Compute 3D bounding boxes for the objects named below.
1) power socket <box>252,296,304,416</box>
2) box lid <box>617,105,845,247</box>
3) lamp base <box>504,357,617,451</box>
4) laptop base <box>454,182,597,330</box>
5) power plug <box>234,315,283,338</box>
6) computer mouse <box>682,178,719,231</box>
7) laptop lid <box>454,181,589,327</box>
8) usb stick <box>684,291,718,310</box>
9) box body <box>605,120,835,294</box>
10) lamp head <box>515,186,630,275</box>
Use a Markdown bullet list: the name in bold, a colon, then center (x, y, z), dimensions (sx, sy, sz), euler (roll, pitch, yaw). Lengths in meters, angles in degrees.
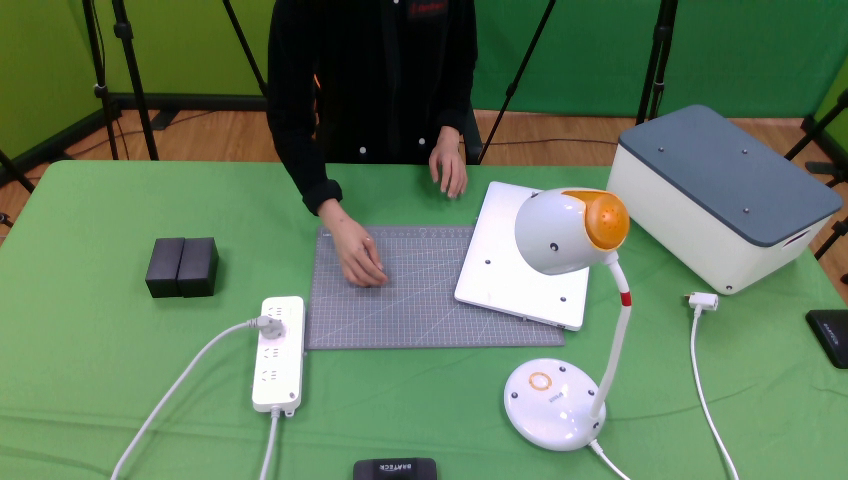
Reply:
- **power socket**: center (-0.238, 0.181, 0.997), dimensions (0.072, 0.033, 0.225), euler (-3, 47, -5)
- **box lid**: center (0.586, -0.138, 1.176), dimensions (0.263, 0.015, 0.369), euler (-22, 51, -23)
- **lamp base**: center (0.220, 0.211, 0.903), dimensions (0.160, 0.181, 0.178), euler (-33, 59, -30)
- **laptop base**: center (0.211, 0.019, 1.202), dimensions (0.235, 0.023, 0.352), euler (11, 46, 10)
- **power plug**: center (-0.269, 0.143, 1.000), dimensions (0.072, 0.053, 0.035), euler (4, 47, 3)
- **computer mouse**: center (0.596, -0.078, 1.290), dimensions (0.117, 0.041, 0.062), euler (56, 44, -7)
- **laptop lid**: center (0.210, 0.010, 1.193), dimensions (0.241, 0.013, 0.355), euler (13, 46, 11)
- **usb stick**: center (0.509, 0.111, 1.121), dimensions (0.059, 0.021, 0.027), euler (6, 54, 46)
- **box body**: center (0.582, -0.088, 1.230), dimensions (0.254, 0.161, 0.361), euler (-22, 52, -23)
- **lamp head**: center (0.188, -0.013, 0.728), dimensions (0.112, 0.112, 0.122), euler (-25, 9, -25)
